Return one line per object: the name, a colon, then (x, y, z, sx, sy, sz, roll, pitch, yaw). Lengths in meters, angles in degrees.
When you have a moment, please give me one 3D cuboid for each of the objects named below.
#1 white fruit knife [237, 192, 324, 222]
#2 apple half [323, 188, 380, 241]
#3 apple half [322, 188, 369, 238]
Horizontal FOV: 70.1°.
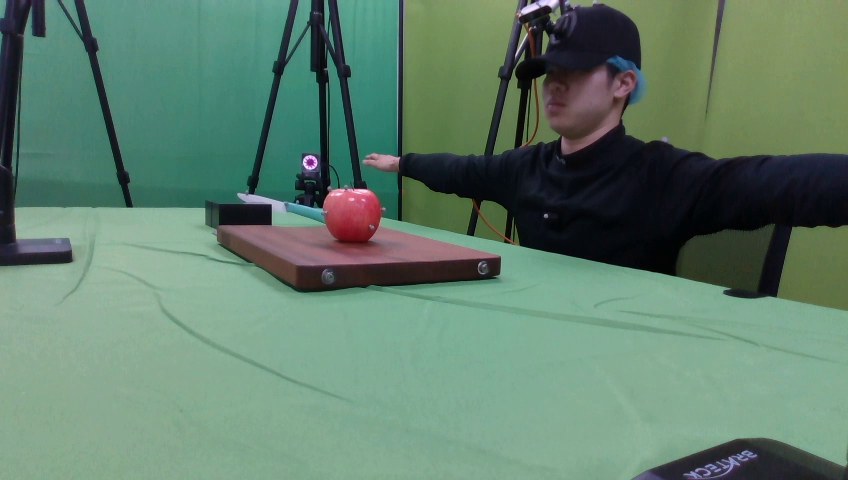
white fruit knife: (-0.286, -0.069, 1.251, 0.208, 0.027, 0.016, 14, -1, -34)
apple half: (-0.094, -0.034, 0.839, 0.081, 0.074, 0.053, 1, 11, -41)
apple half: (-0.119, -0.040, 0.868, 0.082, 0.081, 0.032, -4, 14, -41)
